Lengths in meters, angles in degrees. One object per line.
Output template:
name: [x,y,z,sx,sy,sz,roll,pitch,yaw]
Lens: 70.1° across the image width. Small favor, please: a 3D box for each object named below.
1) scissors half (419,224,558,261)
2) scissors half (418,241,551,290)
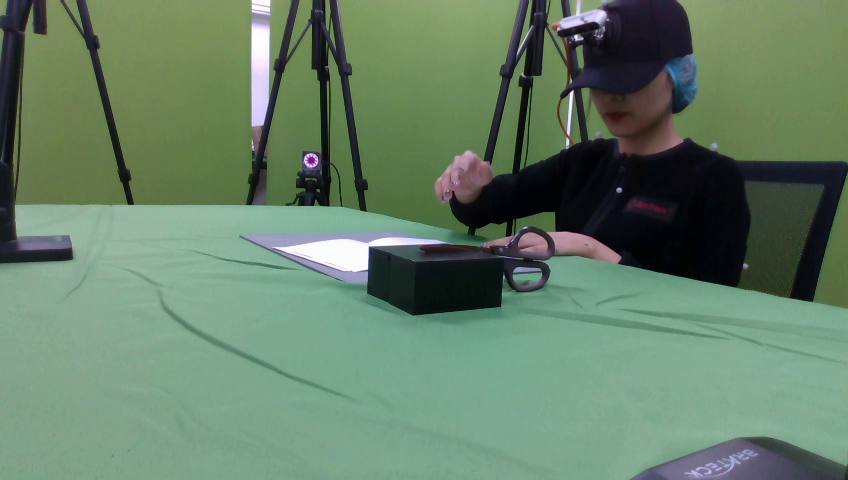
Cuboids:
scissors half: [0.072,0.004,0.641,0.176,0.040,0.013,-3,12,-29]
scissors half: [0.067,0.024,0.645,0.176,0.040,0.012,17,7,-31]
